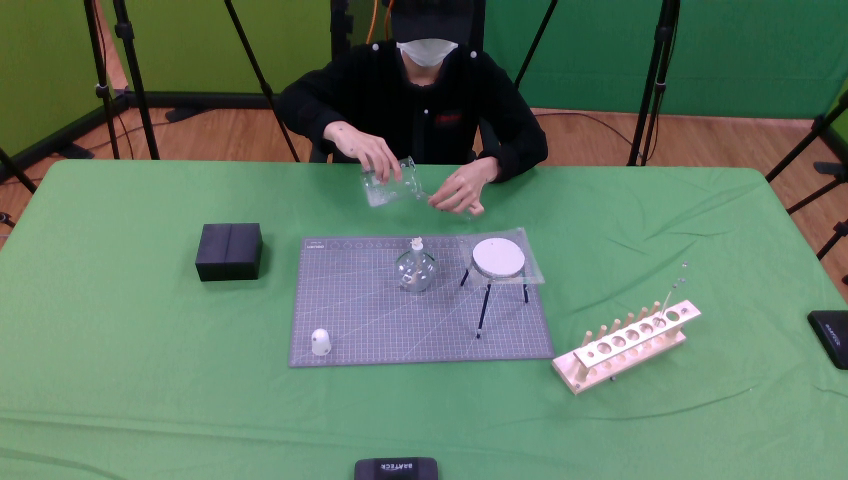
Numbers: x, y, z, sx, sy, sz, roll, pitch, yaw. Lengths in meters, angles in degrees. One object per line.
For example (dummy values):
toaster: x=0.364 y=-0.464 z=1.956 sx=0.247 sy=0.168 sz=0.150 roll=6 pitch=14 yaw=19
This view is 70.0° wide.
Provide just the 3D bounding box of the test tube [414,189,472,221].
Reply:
test tube: x=0.040 y=-0.067 z=1.187 sx=0.151 sy=0.017 sz=0.017 roll=23 pitch=33 yaw=-38

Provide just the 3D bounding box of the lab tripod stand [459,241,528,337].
lab tripod stand: x=0.122 y=0.075 z=1.054 sx=0.148 sy=0.132 sz=0.147 roll=3 pitch=44 yaw=-3

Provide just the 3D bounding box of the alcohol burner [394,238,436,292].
alcohol burner: x=-0.016 y=0.038 z=1.093 sx=0.078 sy=0.119 sz=0.077 roll=2 pitch=48 yaw=-2

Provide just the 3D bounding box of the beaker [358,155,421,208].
beaker: x=-0.063 y=-0.103 z=1.110 sx=0.100 sy=0.084 sz=0.073 roll=-18 pitch=42 yaw=-6

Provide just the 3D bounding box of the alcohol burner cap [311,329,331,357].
alcohol burner cap: x=-0.173 y=0.168 z=1.004 sx=0.034 sy=0.048 sz=0.033 roll=2 pitch=46 yaw=-2

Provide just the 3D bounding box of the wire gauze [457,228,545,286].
wire gauze: x=0.126 y=0.029 z=1.006 sx=0.125 sy=0.011 sz=0.120 roll=-4 pitch=46 yaw=-10

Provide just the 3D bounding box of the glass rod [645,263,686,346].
glass rod: x=0.391 y=0.110 z=0.986 sx=0.008 sy=0.201 sz=0.008 roll=2 pitch=42 yaw=-1

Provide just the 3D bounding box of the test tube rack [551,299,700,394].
test tube rack: x=0.339 y=0.166 z=1.021 sx=0.242 sy=0.085 sz=0.066 roll=-19 pitch=50 yaw=-21
